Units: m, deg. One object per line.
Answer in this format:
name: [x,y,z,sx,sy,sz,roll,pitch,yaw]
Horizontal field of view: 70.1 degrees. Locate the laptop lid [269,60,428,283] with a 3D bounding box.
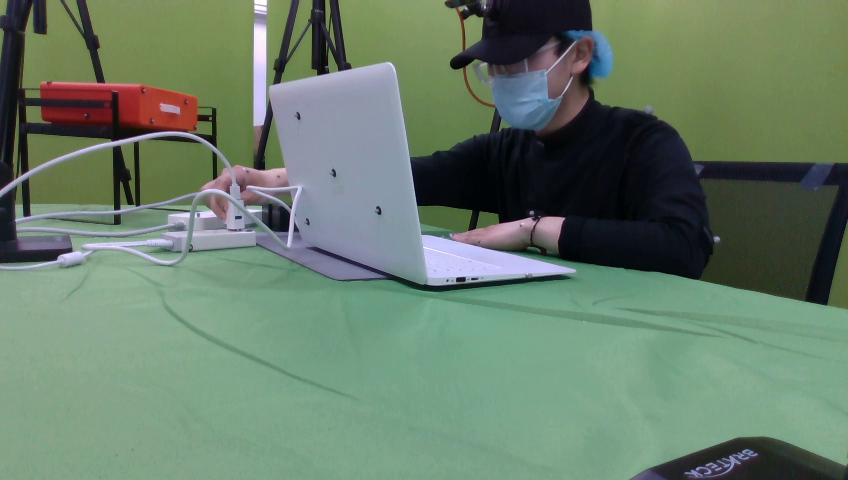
laptop lid: [-0.111,-0.087,0.752,0.013,0.241,0.355,-18,19,-30]

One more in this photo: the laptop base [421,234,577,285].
laptop base: [0.007,0.022,0.849,0.237,0.023,0.352,1,7,-34]

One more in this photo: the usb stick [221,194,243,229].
usb stick: [-0.293,-0.038,0.925,0.027,0.059,0.021,14,28,10]

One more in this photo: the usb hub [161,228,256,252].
usb hub: [-0.316,0.000,0.893,0.049,0.025,0.126,9,10,41]

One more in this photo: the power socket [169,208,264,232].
power socket: [-0.381,-0.038,1.128,0.072,0.032,0.227,4,8,17]

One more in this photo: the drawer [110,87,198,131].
drawer: [-0.602,-0.263,1.225,0.211,0.073,0.195,3,8,10]

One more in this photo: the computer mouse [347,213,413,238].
computer mouse: [-0.079,-0.025,1.080,0.117,0.041,0.062,-5,12,-18]

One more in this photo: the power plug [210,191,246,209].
power plug: [-0.387,-0.070,1.203,0.072,0.052,0.035,7,10,25]

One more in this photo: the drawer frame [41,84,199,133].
drawer frame: [-0.604,-0.264,1.224,0.213,0.082,0.202,3,8,8]
